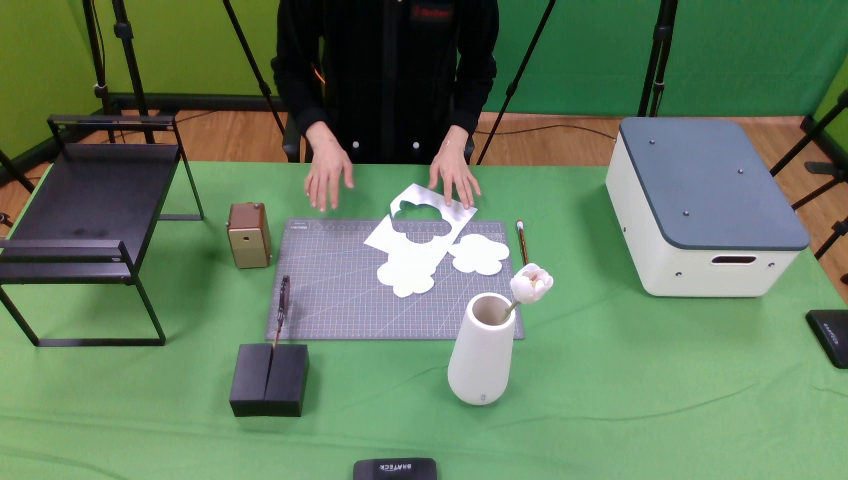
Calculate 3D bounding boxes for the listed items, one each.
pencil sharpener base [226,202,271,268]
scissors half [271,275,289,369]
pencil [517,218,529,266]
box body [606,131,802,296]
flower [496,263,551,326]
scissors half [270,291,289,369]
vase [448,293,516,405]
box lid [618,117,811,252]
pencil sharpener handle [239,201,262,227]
[{"bbox_3d":[-0.323,-0.010,1.123,0.061,0.107,0.076,-3,46,-7],"label":"pencil sharpener base"},{"bbox_3d":[-0.240,0.131,1.000,0.013,0.040,0.174,3,56,-4],"label":"scissors half"},{"bbox_3d":[0.200,0.027,1.196,0.012,0.012,0.193,1,48,-3],"label":"pencil"},{"bbox_3d":[0.530,-0.067,1.204,0.254,0.161,0.361,0,46,-4],"label":"box body"},{"bbox_3d":[0.102,0.120,0.853,0.044,0.363,0.038,-2,64,-10],"label":"flower"},{"bbox_3d":[-0.243,0.145,1.014,0.013,0.040,0.174,7,38,-7],"label":"scissors half"},{"bbox_3d":[0.091,0.169,0.921,0.098,0.201,0.097,3,47,-3],"label":"vase"},{"bbox_3d":[0.534,-0.117,1.148,0.263,0.015,0.369,0,47,-3],"label":"box lid"},{"bbox_3d":[-0.325,-0.055,1.150,0.036,0.068,0.030,-13,46,4],"label":"pencil sharpener handle"}]
